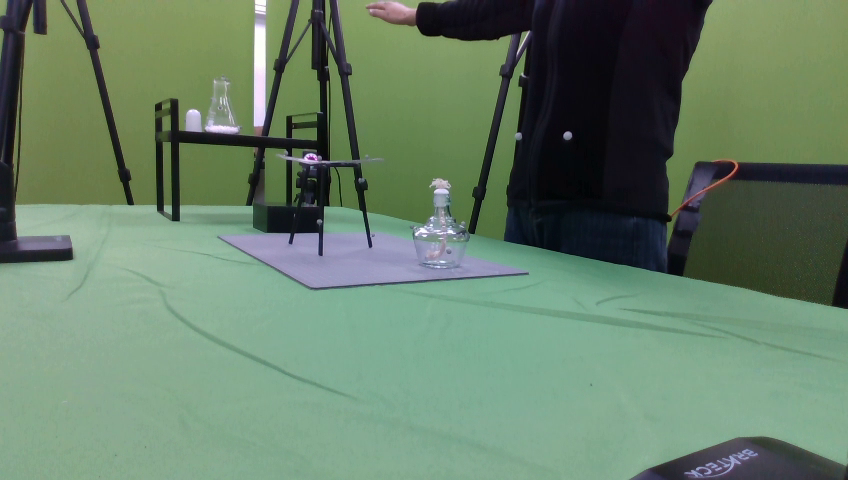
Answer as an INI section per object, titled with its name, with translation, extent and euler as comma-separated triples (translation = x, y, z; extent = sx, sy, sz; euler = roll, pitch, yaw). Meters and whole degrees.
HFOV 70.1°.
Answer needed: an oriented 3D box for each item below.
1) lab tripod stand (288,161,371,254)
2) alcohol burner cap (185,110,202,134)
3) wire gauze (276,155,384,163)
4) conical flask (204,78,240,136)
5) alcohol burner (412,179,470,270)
[lab tripod stand]
translation = -0.148, -0.052, 0.909
extent = 0.148, 0.131, 0.148
euler = 1, 8, 0
[alcohol burner cap]
translation = -0.470, -0.241, 1.234
extent = 0.034, 0.048, 0.034
euler = 3, 7, 0
[wire gauze]
translation = -0.142, -0.118, 0.900
extent = 0.122, 0.011, 0.124
euler = -3, 8, -37
[conical flask]
translation = -0.443, -0.292, 1.327
extent = 0.075, 0.122, 0.075
euler = 3, 7, 0
[alcohol burner]
translation = 0.022, -0.021, 0.805
extent = 0.078, 0.119, 0.078
euler = 0, 8, 0
